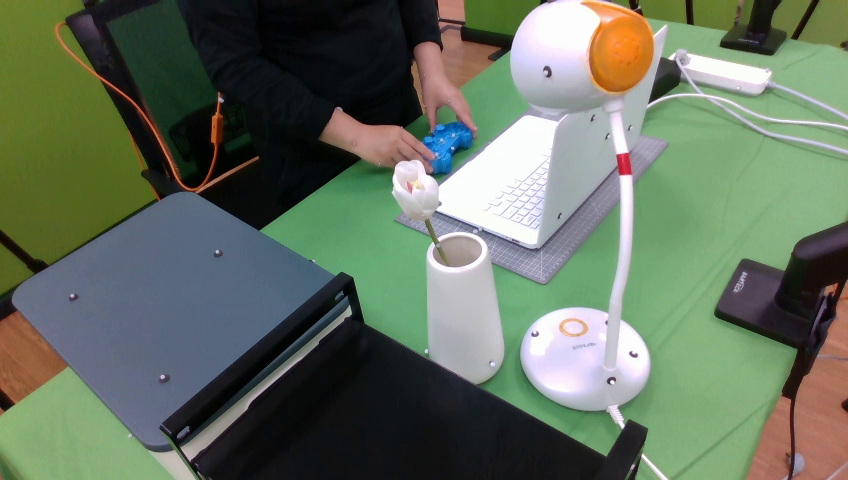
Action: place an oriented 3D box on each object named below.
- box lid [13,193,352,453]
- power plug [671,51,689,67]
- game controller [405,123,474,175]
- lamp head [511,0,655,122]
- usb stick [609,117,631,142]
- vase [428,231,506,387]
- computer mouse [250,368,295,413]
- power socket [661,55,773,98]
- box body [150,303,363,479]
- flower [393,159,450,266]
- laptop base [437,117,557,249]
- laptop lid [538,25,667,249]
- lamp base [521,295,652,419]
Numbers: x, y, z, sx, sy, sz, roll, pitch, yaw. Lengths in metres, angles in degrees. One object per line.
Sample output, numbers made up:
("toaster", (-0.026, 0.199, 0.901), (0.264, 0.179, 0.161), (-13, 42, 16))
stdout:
("box lid", (-0.291, 0.067, 0.716), (0.368, 0.015, 0.264), (25, 50, 33))
("power plug", (0.540, -0.379, 1.302), (0.073, 0.053, 0.035), (-31, 46, -23))
("game controller", (0.030, -0.181, 1.165), (0.096, 0.052, 0.155), (17, 46, 24))
("lamp head", (0.155, -0.168, 0.563), (0.113, 0.113, 0.122), (-18, 23, -12))
("usb stick", (0.369, -0.208, 1.147), (0.021, 0.027, 0.059), (26, 56, 32))
("vase", (0.050, 0.087, 0.728), (0.098, 0.201, 0.097), (-3, 40, 3))
("computer mouse", (-0.196, 0.181, 0.771), (0.063, 0.041, 0.116), (-12, 47, -11))
("power socket", (0.619, -0.352, 1.289), (0.225, 0.033, 0.072), (26, 51, 33))
("box body", (-0.284, 0.123, 0.765), (0.361, 0.161, 0.255), (25, 49, 33))
("flower", (0.028, 0.035, 0.665), (0.043, 0.364, 0.038), (35, 73, 29))
("laptop base", (0.192, -0.116, 1.087), (0.233, 0.023, 0.355), (21, 48, 34))
("laptop lid", (0.281, -0.163, 0.942), (0.013, 0.242, 0.358), (28, 50, 27))
("lamp base", (0.200, 0.095, 0.710), (0.161, 0.181, 0.177), (-16, 43, -10))
